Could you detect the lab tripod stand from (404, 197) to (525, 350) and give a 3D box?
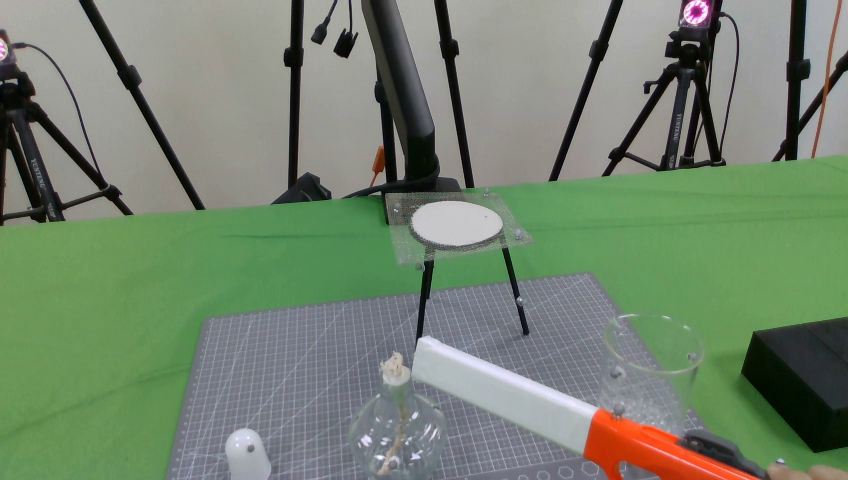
[{"bbox_3d":[0.032,0.033,0.604,0.148,0.132,0.147,0,30,0],"label":"lab tripod stand"}]

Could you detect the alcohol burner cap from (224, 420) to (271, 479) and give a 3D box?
[{"bbox_3d":[-0.141,0.164,0.480,0.034,0.048,0.033,-1,32,1],"label":"alcohol burner cap"}]

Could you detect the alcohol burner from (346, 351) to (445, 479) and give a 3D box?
[{"bbox_3d":[-0.022,0.129,0.463,0.078,0.120,0.077,-1,33,1],"label":"alcohol burner"}]

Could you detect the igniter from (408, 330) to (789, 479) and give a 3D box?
[{"bbox_3d":[0.106,0.115,0.355,0.274,0.057,0.025,19,13,31],"label":"igniter"}]

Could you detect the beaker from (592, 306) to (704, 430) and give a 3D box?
[{"bbox_3d":[0.175,0.114,0.496,0.074,0.101,0.083,-15,33,-22],"label":"beaker"}]

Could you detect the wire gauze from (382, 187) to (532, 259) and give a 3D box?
[{"bbox_3d":[0.026,-0.023,0.565,0.122,0.011,0.124,-5,31,-8],"label":"wire gauze"}]
